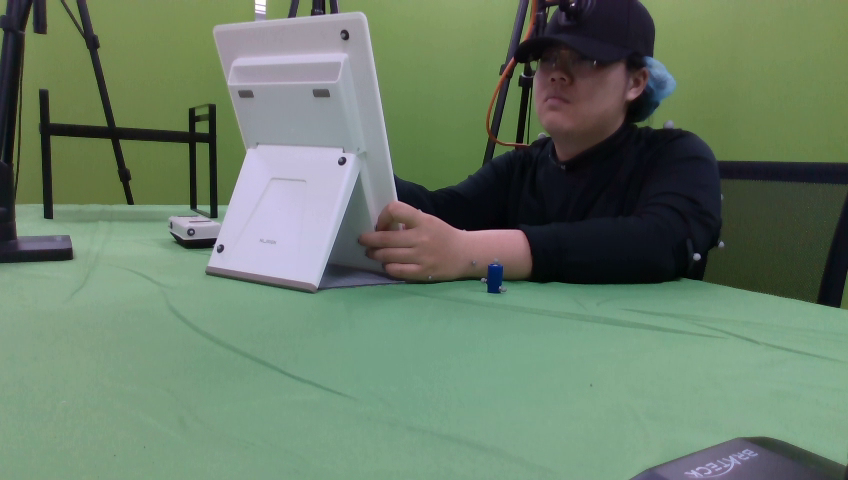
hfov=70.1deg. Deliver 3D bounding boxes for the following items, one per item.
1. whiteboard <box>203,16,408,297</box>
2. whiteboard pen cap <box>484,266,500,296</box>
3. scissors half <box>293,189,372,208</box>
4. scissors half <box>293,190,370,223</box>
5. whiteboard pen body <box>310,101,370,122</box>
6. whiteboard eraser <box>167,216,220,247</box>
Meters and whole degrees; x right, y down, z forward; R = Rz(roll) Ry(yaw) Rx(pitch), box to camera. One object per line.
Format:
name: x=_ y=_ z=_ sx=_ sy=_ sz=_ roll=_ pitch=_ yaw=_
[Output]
whiteboard: x=-0.166 y=-0.072 z=0.669 sx=0.216 sy=0.305 sz=0.144 roll=8 pitch=30 yaw=30
whiteboard pen cap: x=0.075 y=0.046 z=0.668 sx=0.018 sy=0.033 sz=0.018 roll=3 pitch=7 yaw=0
scissors half: x=-0.201 y=-0.096 z=1.332 sx=0.175 sy=0.040 sz=0.013 roll=5 pitch=19 yaw=-4
scissors half: x=-0.205 y=-0.077 z=1.338 sx=0.175 sy=0.040 sz=0.013 roll=22 pitch=12 yaw=-8
whiteboard pen body: x=-0.104 y=-0.161 z=0.757 sx=0.017 sy=0.017 sz=0.141 roll=6 pitch=18 yaw=21
whiteboard eraser: x=-0.350 y=-0.013 z=0.920 sx=0.056 sy=0.042 sz=0.112 roll=0 pitch=7 yaw=-35
